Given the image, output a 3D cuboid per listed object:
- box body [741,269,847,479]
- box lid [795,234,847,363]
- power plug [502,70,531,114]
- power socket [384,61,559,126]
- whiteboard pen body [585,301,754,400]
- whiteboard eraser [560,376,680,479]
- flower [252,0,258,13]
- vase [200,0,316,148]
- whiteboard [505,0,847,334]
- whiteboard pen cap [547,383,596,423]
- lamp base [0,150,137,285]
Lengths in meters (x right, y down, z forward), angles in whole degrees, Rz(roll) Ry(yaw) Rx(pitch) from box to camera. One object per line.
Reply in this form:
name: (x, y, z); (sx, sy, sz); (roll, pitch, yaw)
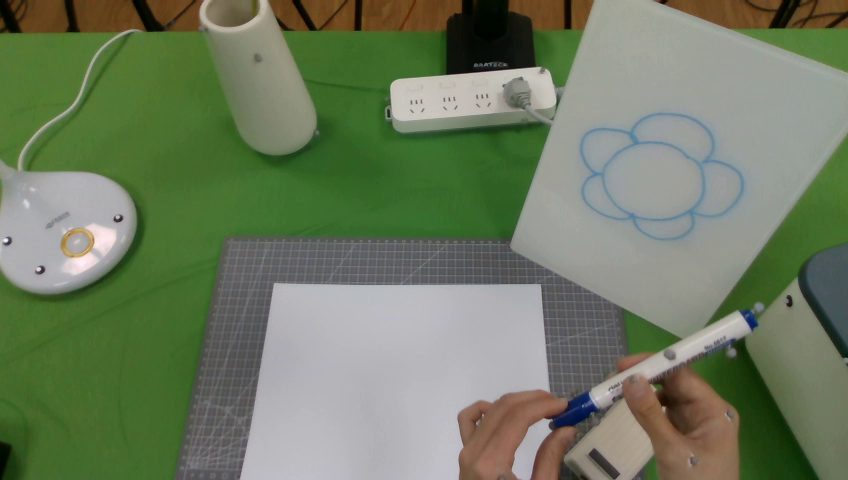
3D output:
box body: (0.482, 0.166, 0.509); (0.254, 0.161, 0.360); (-16, 63, -7)
box lid: (0.479, 0.129, 0.444); (0.263, 0.015, 0.368); (-16, 63, -6)
power plug: (0.113, -0.176, 0.746); (0.035, 0.053, 0.072); (5, 69, 4)
power socket: (0.061, -0.188, 0.778); (0.227, 0.033, 0.071); (-4, 63, -1)
whiteboard pen body: (0.152, 0.081, 0.407); (0.141, 0.017, 0.017); (-34, 62, 18)
whiteboard eraser: (0.185, 0.181, 0.575); (0.112, 0.042, 0.055); (-40, 67, -17)
flower: (-0.171, -0.226, 0.618); (0.044, 0.362, 0.038); (-39, 85, -26)
vase: (-0.188, -0.195, 0.695); (0.098, 0.201, 0.097); (-1, 62, 3)
whiteboard: (0.244, -0.089, 0.603); (0.216, 0.308, 0.143); (29, 46, 17)
whiteboard pen cap: (0.105, 0.114, 0.425); (0.033, 0.018, 0.018); (-32, 62, 16)
lamp base: (-0.431, -0.063, 0.643); (0.178, 0.182, 0.160); (31, 67, 20)
